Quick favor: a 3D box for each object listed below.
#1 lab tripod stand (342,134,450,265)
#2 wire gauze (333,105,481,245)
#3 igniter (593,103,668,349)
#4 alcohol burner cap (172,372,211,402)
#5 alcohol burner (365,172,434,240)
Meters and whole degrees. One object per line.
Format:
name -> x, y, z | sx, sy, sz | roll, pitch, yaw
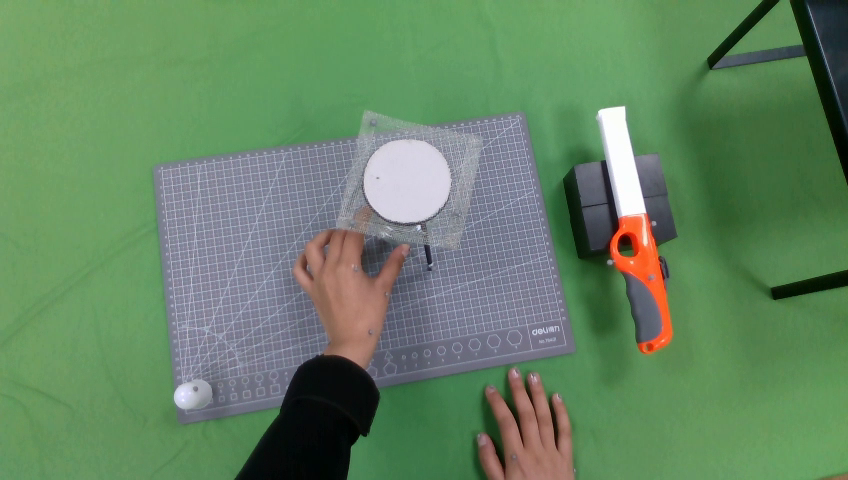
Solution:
lab tripod stand -> -0.021, -0.053, 0.653 | 0.148, 0.132, 0.147 | 1, 77, -2
wire gauze -> -0.015, -0.063, 0.587 | 0.121, 0.011, 0.124 | 13, 78, -1
igniter -> 0.227, -0.020, 0.669 | 0.057, 0.025, 0.275 | -7, 79, -1
alcohol burner cap -> -0.252, 0.159, 0.649 | 0.034, 0.048, 0.033 | 1, 79, -3
alcohol burner -> -0.027, -0.040, 0.661 | 0.078, 0.119, 0.077 | 0, 81, -2
